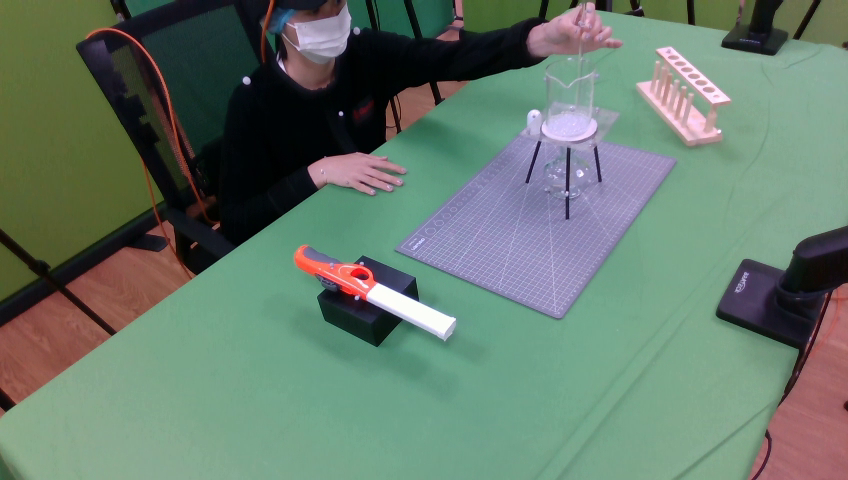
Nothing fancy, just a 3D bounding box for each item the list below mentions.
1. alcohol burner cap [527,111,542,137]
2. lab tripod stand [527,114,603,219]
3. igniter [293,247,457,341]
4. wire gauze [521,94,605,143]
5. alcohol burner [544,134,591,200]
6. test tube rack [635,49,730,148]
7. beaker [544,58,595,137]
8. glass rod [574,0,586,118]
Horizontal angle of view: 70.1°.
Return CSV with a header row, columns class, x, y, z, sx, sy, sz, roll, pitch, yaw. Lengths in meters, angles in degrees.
class,x,y,z,sx,sy,sz,roll,pitch,yaw
alcohol burner cap,0.221,-0.233,1.200,0.034,0.048,0.033,-6,41,6
lab tripod stand,0.234,-0.129,1.002,0.148,0.132,0.147,-6,40,6
igniter,-0.077,0.068,0.830,0.274,0.025,0.057,22,48,27
wire gauze,0.220,-0.190,0.949,0.121,0.011,0.125,7,46,14
alcohol burner,0.241,-0.127,1.014,0.078,0.119,0.077,-5,42,5
test tube rack,0.497,-0.283,1.184,0.067,0.085,0.240,-10,40,-2
beaker,0.222,-0.214,0.926,0.074,0.101,0.084,3,42,16
glass rod,0.234,-0.270,0.902,0.008,0.200,0.008,-5,41,5
